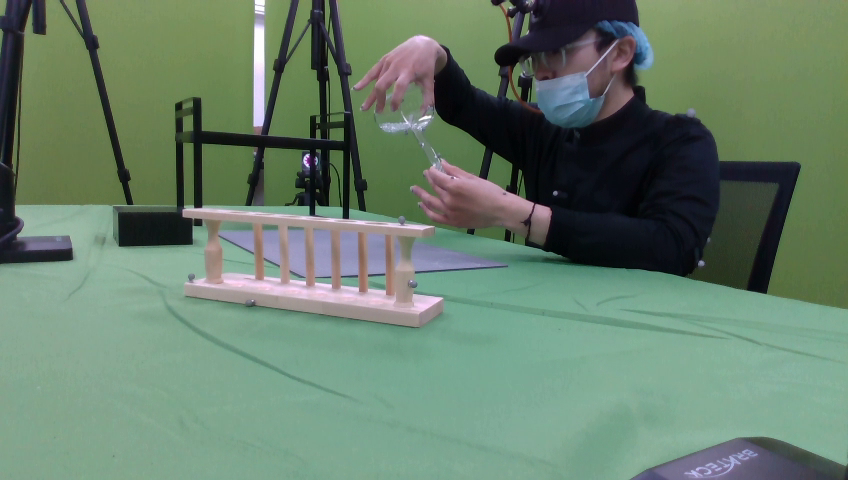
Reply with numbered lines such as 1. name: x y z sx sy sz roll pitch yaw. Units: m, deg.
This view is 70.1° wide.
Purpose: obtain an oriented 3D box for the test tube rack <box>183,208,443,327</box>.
1. test tube rack: -0.106 0.019 0.570 0.241 0.085 0.067 5 8 19

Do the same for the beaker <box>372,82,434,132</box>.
1. beaker: -0.041 -0.230 1.074 0.074 0.084 0.100 4 -1 -36

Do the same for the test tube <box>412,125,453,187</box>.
1. test tube: 0.013 -0.139 0.993 0.017 0.017 0.150 -2 47 -30
